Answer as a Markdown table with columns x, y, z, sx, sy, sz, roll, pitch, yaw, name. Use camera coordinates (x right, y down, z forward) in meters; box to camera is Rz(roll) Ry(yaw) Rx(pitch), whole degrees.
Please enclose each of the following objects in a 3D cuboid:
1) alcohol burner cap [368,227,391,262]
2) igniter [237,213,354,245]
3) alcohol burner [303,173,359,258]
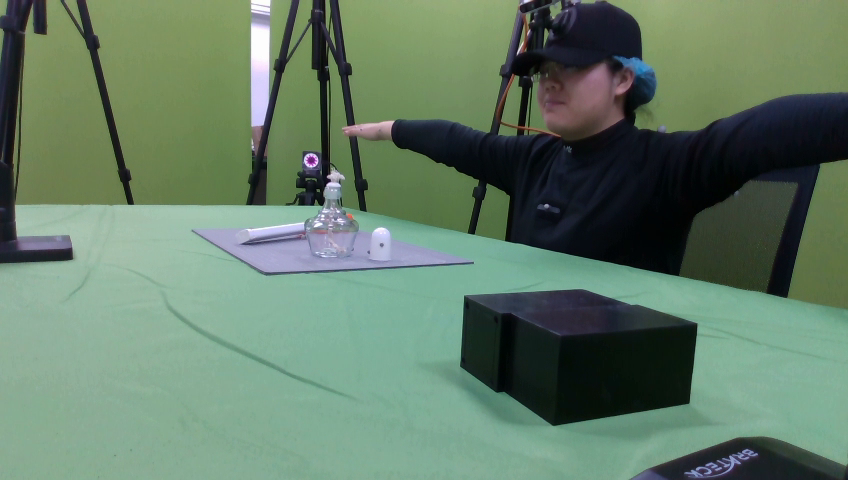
| x | y | z | sx | sy | sz | roll | pitch | yaw | name |
| --- | --- | --- | --- | --- | --- | --- | --- | --- | --- |
| -0.060 | 0.006 | 0.837 | 0.034 | 0.048 | 0.034 | 3 | 7 | 0 | alcohol burner cap |
| -0.206 | -0.021 | 1.034 | 0.057 | 0.025 | 0.278 | -19 | -2 | 30 | igniter |
| -0.130 | -0.035 | 0.850 | 0.078 | 0.119 | 0.078 | 2 | 5 | 0 | alcohol burner |
